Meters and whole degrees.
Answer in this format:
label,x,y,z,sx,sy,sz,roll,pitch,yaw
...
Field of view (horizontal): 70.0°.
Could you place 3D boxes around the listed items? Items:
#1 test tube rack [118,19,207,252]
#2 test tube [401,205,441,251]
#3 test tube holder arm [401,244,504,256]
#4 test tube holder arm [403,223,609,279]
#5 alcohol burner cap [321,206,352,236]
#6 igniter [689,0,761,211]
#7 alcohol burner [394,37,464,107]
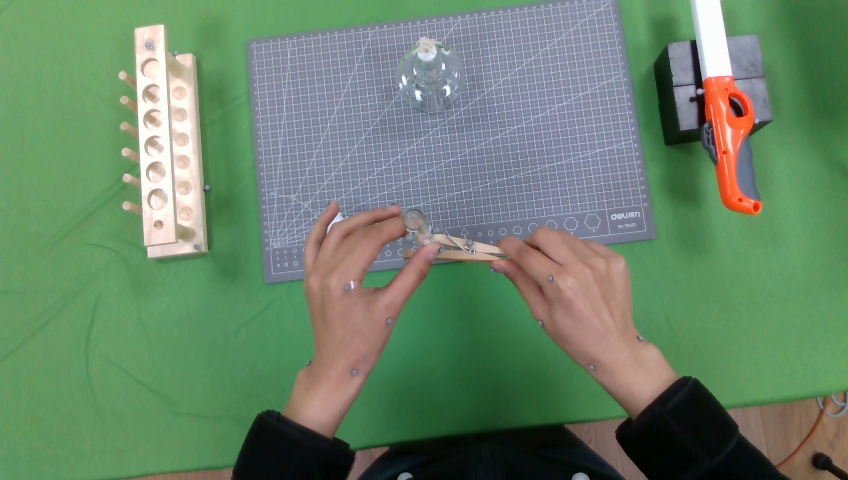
label,x,y,z,sx,sy,sz,roll,pitch,yaw
test tube rack,-0.301,-0.113,0.685,0.067,0.085,0.241,-6,83,2
test tube,0.000,-0.006,0.478,0.017,0.151,0.017,-1,81,6
test tube holder arm,0.024,0.009,0.518,0.088,0.015,0.010,0,85,2
test tube holder arm,0.069,0.009,0.517,0.178,0.015,0.013,12,86,3
alcohol burner cap,-0.101,-0.023,0.683,0.034,0.048,0.034,0,82,1
igniter,0.315,-0.164,0.645,0.057,0.025,0.275,-5,80,0
alcohol burner,0.004,-0.192,0.664,0.078,0.119,0.077,-1,83,5
